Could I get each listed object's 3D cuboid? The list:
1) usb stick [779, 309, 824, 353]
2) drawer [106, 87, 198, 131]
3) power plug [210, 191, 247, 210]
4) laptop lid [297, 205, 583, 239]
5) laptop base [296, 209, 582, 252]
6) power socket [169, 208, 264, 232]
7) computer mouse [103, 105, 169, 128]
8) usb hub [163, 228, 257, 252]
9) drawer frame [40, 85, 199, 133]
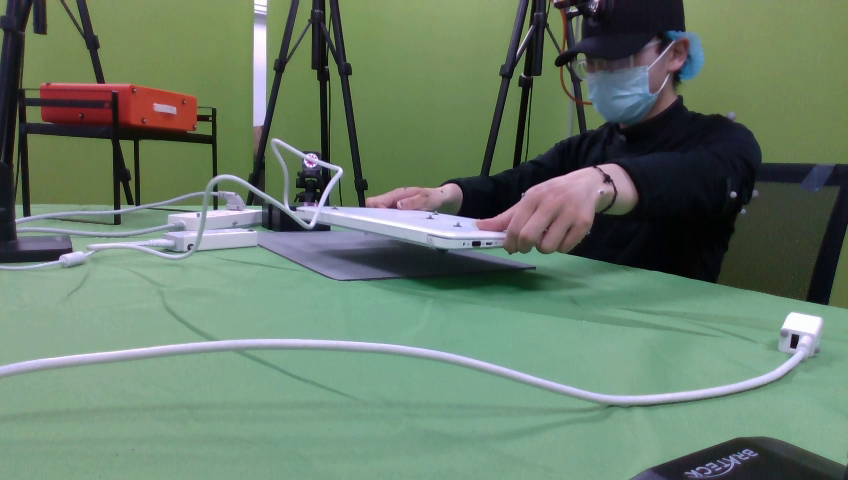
[{"bbox_3d":[0.311,0.072,0.497,0.027,0.021,0.059,7,15,34],"label":"usb stick"},{"bbox_3d":[-0.609,-0.264,1.235,0.211,0.073,0.195,3,8,16],"label":"drawer"},{"bbox_3d":[-0.386,-0.071,1.204,0.072,0.052,0.035,8,11,25],"label":"power plug"},{"bbox_3d":[0.008,-0.027,0.829,0.243,0.013,0.355,0,7,-37],"label":"laptop lid"},{"bbox_3d":[0.006,-0.015,0.830,0.237,0.023,0.352,1,7,-39],"label":"laptop base"},{"bbox_3d":[-0.381,-0.038,1.128,0.072,0.032,0.227,4,8,17],"label":"power socket"},{"bbox_3d":[-0.581,-0.249,1.223,0.118,0.041,0.062,2,3,-39],"label":"computer mouse"},{"bbox_3d":[-0.313,-0.001,0.894,0.049,0.025,0.126,9,10,41],"label":"usb hub"},{"bbox_3d":[-0.612,-0.266,1.235,0.213,0.082,0.202,3,8,15],"label":"drawer frame"}]
